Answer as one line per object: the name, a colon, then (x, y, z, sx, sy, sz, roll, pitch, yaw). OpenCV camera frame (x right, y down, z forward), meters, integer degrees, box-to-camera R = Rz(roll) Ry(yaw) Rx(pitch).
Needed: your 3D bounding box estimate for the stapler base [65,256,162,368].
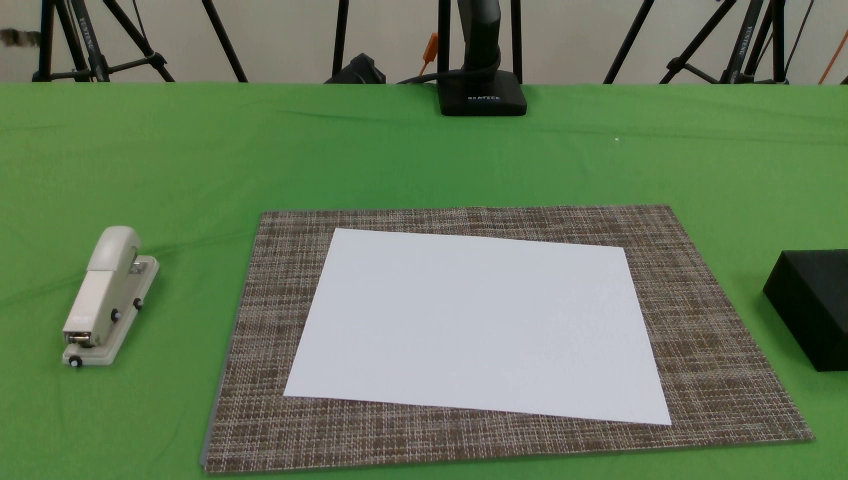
stapler base: (-0.272, 0.054, 0.533, 0.041, 0.024, 0.129, 0, 41, 0)

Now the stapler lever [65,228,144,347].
stapler lever: (-0.270, 0.036, 0.516, 0.027, 0.040, 0.117, 0, 40, 0)
